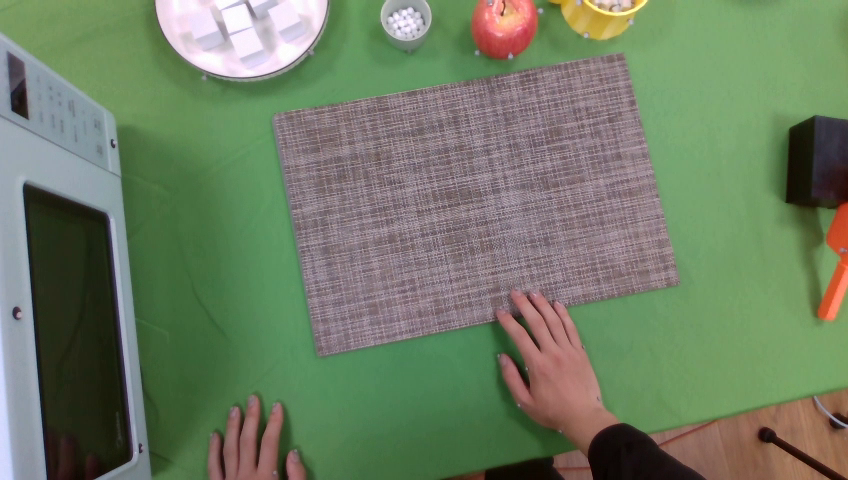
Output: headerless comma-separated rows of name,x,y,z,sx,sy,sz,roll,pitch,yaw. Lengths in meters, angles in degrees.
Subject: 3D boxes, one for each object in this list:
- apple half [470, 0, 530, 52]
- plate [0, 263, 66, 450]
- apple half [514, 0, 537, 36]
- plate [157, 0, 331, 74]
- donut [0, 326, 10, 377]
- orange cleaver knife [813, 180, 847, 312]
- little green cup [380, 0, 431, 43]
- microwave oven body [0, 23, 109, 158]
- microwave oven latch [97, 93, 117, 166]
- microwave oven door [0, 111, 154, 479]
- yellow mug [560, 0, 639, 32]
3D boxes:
apple half,0.084,-0.263,0.734,0.053,0.074,0.081,-37,90,-1
plate,-0.473,0.121,0.622,0.209,0.038,0.208,0,85,-4
apple half,0.115,-0.287,0.737,0.033,0.081,0.081,-38,86,-2
plate,-0.216,-0.300,0.740,0.208,0.039,0.207,0,84,-3
donut,-0.471,0.115,0.609,0.099,0.048,0.099,0,86,-2
orange cleaver knife,0.505,-0.015,0.722,0.012,0.076,0.212,8,116,0
little green cup,-0.023,-0.276,0.747,0.061,0.038,0.061,0,84,-2
microwave oven body,-0.490,0.059,0.576,0.326,0.260,0.440,-8,85,-4
microwave oven latch,-0.373,-0.125,0.696,0.030,0.029,0.079,-6,85,-4
microwave oven door,-0.340,0.080,0.576,0.039,0.244,0.355,-8,84,-3
yellow mug,0.209,-0.319,0.749,0.131,0.064,0.099,0,84,-2
